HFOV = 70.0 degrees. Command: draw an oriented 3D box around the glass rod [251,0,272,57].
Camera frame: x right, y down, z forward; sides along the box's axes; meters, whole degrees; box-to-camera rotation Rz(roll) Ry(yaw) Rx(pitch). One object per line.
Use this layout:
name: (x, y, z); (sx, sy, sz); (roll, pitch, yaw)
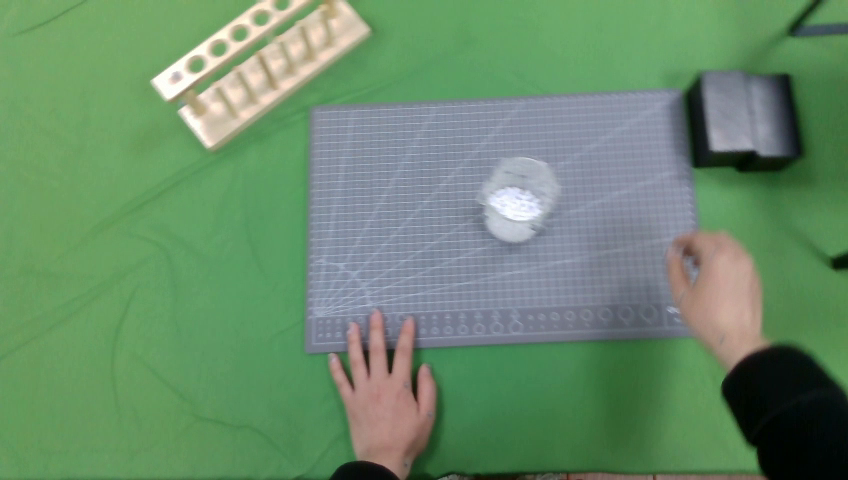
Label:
glass rod: (-0.186, -0.267, 0.659); (0.008, 0.201, 0.008); (1, 68, -2)

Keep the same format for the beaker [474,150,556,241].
beaker: (0.094, -0.042, 0.655); (0.084, 0.101, 0.073); (-14, 76, -1)

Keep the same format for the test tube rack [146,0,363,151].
test tube rack: (-0.191, -0.218, 0.715); (0.242, 0.085, 0.066); (-40, 78, -8)
